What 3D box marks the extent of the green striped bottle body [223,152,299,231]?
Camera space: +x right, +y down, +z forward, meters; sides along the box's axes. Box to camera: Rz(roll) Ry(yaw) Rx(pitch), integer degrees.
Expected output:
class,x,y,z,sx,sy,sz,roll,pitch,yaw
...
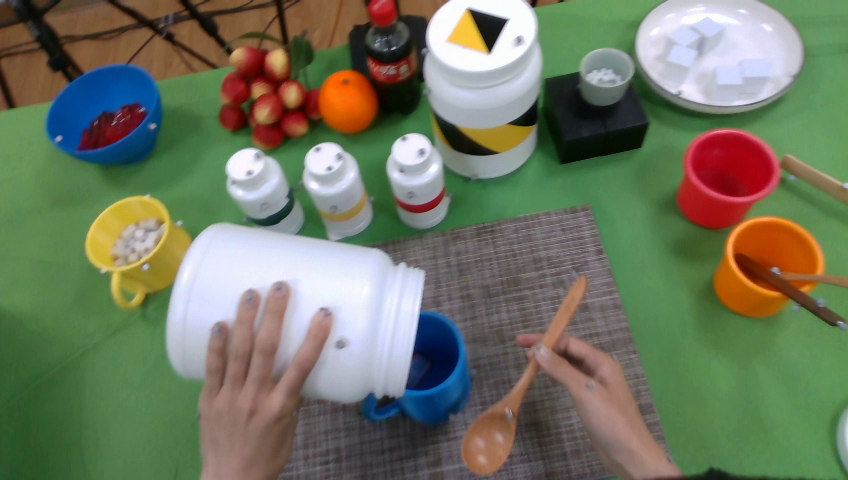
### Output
class,x,y,z,sx,sy,sz,roll,pitch,yaw
green striped bottle body,-0.193,-0.058,0.715,0.063,0.120,0.062,-3,61,5

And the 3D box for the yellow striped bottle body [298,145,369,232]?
class,x,y,z,sx,sy,sz,roll,pitch,yaw
yellow striped bottle body,-0.107,-0.065,0.708,0.063,0.121,0.062,-3,61,6

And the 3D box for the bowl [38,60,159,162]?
class,x,y,z,sx,sy,sz,roll,pitch,yaw
bowl,-0.423,-0.160,0.821,0.151,0.077,0.150,-3,62,5

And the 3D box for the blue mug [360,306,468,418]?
class,x,y,z,sx,sy,sz,roll,pitch,yaw
blue mug,-0.012,0.132,0.595,0.116,0.107,0.081,-36,63,-12

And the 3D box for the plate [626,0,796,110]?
class,x,y,z,sx,sy,sz,roll,pitch,yaw
plate,0.371,-0.249,0.798,0.209,0.038,0.207,-3,62,5

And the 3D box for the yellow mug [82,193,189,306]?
class,x,y,z,sx,sy,sz,roll,pitch,yaw
yellow mug,-0.346,0.015,0.725,0.100,0.064,0.130,-2,62,6

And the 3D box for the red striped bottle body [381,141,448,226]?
class,x,y,z,sx,sy,sz,roll,pitch,yaw
red striped bottle body,-0.011,-0.072,0.702,0.063,0.121,0.062,-6,59,10

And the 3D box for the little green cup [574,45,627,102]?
class,x,y,z,sx,sy,sz,roll,pitch,yaw
little green cup,0.211,-0.199,0.731,0.061,0.039,0.061,-2,59,3

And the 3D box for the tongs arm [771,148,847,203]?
class,x,y,z,sx,sy,sz,roll,pitch,yaw
tongs arm,0.565,-0.005,0.645,0.382,0.027,0.050,39,69,23

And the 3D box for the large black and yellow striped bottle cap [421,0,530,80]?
class,x,y,z,sx,sy,sz,roll,pitch,yaw
large black and yellow striped bottle cap,0.054,-0.219,0.637,0.115,0.019,0.114,-4,63,8

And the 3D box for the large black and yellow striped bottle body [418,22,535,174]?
class,x,y,z,sx,sy,sz,roll,pitch,yaw
large black and yellow striped bottle body,0.063,-0.179,0.713,0.130,0.185,0.129,-3,62,6

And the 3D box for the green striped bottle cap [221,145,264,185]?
class,x,y,z,sx,sy,sz,roll,pitch,yaw
green striped bottle cap,-0.200,-0.083,0.670,0.044,0.020,0.044,-2,60,4

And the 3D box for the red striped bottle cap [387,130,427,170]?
class,x,y,z,sx,sy,sz,roll,pitch,yaw
red striped bottle cap,-0.019,-0.098,0.656,0.044,0.018,0.044,-1,60,2

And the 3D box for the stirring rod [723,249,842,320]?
class,x,y,z,sx,sy,sz,roll,pitch,yaw
stirring rod,0.342,0.039,0.591,0.014,0.006,0.175,-8,18,0

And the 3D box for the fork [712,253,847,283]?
class,x,y,z,sx,sy,sz,roll,pitch,yaw
fork,0.372,0.034,0.582,0.028,0.019,0.206,-47,22,-16

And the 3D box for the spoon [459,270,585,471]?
class,x,y,z,sx,sy,sz,roll,pitch,yaw
spoon,0.090,0.111,0.523,0.041,0.022,0.193,31,91,10

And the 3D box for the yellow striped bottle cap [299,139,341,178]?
class,x,y,z,sx,sy,sz,roll,pitch,yaw
yellow striped bottle cap,-0.114,-0.089,0.662,0.044,0.019,0.044,-1,58,1

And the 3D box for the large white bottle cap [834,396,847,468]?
class,x,y,z,sx,sy,sz,roll,pitch,yaw
large white bottle cap,0.448,0.189,0.565,0.115,0.018,0.114,-3,61,5

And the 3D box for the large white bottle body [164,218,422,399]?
class,x,y,z,sx,sy,sz,roll,pitch,yaw
large white bottle body,-0.100,0.060,0.506,0.185,0.131,0.129,11,63,-3
